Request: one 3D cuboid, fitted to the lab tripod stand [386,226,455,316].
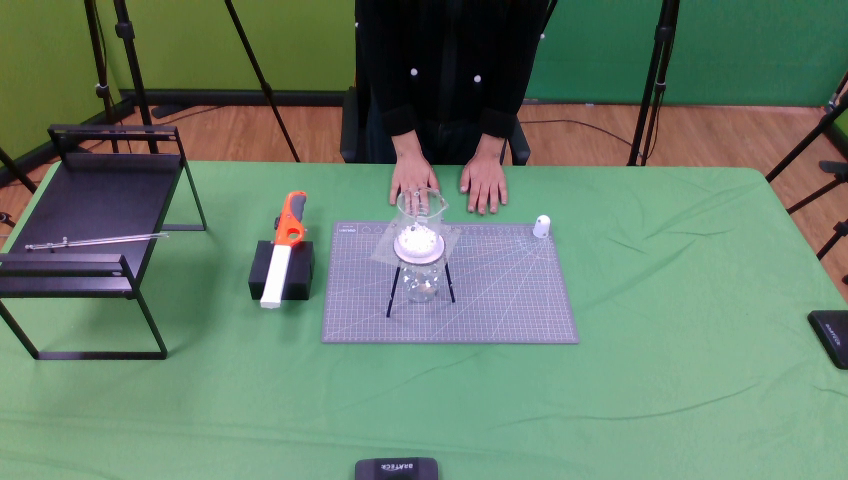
[{"bbox_3d":[-0.013,0.054,1.064,0.148,0.132,0.147,2,48,-2],"label":"lab tripod stand"}]

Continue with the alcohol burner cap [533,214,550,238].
[{"bbox_3d":[0.241,-0.031,1.228,0.034,0.048,0.033,0,48,0],"label":"alcohol burner cap"}]

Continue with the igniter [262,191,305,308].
[{"bbox_3d":[-0.254,0.007,1.104,0.057,0.025,0.275,5,47,-4],"label":"igniter"}]

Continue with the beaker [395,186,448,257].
[{"bbox_3d":[-0.007,-0.027,0.984,0.084,0.101,0.073,1,48,-4],"label":"beaker"}]

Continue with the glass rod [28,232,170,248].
[{"bbox_3d":[-0.491,-0.001,0.919,0.200,0.008,0.008,-5,47,-10],"label":"glass rod"}]

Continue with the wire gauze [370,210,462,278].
[{"bbox_3d":[-0.012,0.007,1.019,0.121,0.011,0.124,16,51,13],"label":"wire gauze"}]

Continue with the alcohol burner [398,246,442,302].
[{"bbox_3d":[-0.006,0.055,1.078,0.078,0.119,0.077,3,44,-3],"label":"alcohol burner"}]
